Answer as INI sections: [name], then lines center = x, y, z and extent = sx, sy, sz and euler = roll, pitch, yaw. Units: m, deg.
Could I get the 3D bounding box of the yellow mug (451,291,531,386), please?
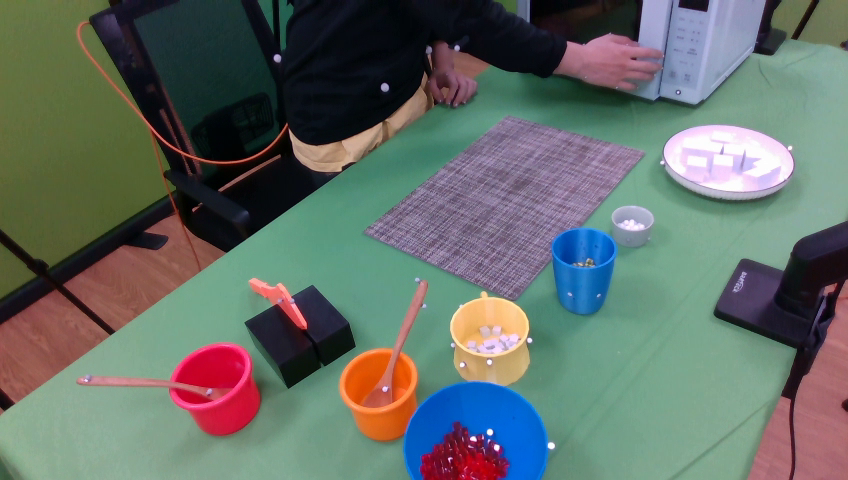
[yellow mug]
center = 0.086, 0.120, 0.786
extent = 0.100, 0.064, 0.130
euler = -7, 39, 1

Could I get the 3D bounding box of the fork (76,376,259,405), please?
[fork]
center = -0.295, 0.176, 0.716
extent = 0.209, 0.018, 0.028
euler = 19, 27, -37

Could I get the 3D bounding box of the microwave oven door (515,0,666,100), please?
[microwave oven door]
center = 0.336, -0.449, 1.254
extent = 0.353, 0.245, 0.039
euler = 30, 53, 35

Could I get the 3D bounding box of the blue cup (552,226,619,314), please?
[blue cup]
center = 0.218, 0.047, 0.825
extent = 0.092, 0.101, 0.092
euler = -6, 40, 5

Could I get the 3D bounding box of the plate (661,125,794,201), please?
[plate]
center = 0.513, -0.128, 1.035
extent = 0.207, 0.039, 0.206
euler = -4, 40, 4

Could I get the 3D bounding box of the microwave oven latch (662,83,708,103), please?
[microwave oven latch]
center = 0.519, -0.297, 1.204
extent = 0.078, 0.029, 0.030
euler = 29, 53, 36

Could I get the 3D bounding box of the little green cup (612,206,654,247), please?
[little green cup]
center = 0.321, -0.019, 0.936
extent = 0.061, 0.039, 0.061
euler = -4, 41, 4

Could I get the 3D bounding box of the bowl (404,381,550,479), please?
[bowl]
center = 0.058, 0.235, 0.645
extent = 0.151, 0.077, 0.150
euler = -4, 39, 4

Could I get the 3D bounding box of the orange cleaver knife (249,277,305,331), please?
[orange cleaver knife]
center = -0.210, 0.088, 0.856
extent = 0.012, 0.077, 0.210
euler = -28, 15, -25

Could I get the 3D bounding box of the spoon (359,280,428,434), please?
[spoon]
center = -0.032, 0.138, 0.719
extent = 0.041, 0.193, 0.022
euler = 22, 4, 30

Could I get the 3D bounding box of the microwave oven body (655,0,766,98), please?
[microwave oven body]
center = 0.472, -0.513, 1.317
extent = 0.438, 0.261, 0.327
euler = 26, 51, 34
